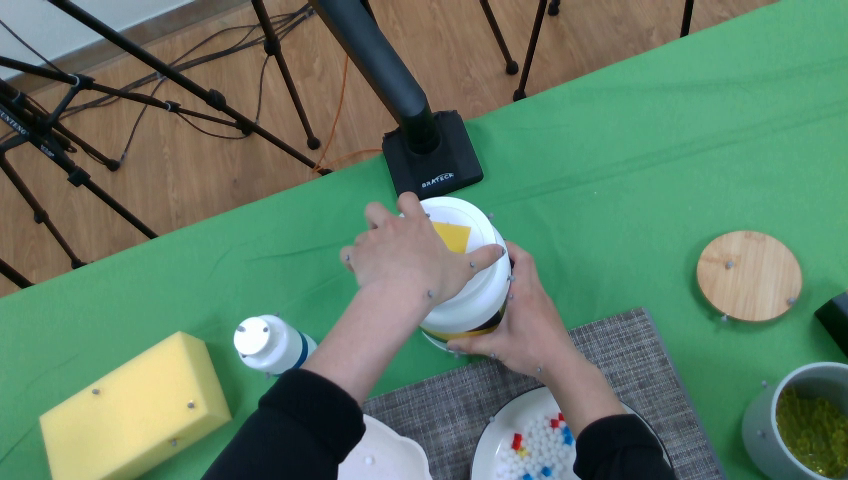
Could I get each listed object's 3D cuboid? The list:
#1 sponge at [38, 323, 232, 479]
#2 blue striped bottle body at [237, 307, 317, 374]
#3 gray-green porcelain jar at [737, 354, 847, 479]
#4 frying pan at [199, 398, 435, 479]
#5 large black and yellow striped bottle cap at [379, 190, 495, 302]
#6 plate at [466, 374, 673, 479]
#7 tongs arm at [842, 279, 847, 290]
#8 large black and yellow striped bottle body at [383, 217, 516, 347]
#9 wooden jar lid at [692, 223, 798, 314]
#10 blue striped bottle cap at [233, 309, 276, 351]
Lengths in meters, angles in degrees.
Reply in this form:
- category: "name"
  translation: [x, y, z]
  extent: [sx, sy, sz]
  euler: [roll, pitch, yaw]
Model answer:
- category: "sponge"
  translation: [-0.361, 0.212, 0.758]
  extent: [0.207, 0.061, 0.117]
  euler: [-32, 65, -2]
- category: "blue striped bottle body"
  translation: [-0.178, 0.119, 0.720]
  extent: [0.063, 0.122, 0.062]
  euler: [-4, 67, 11]
- category: "gray-green porcelain jar"
  translation: [0.363, 0.172, 0.572]
  extent: [0.105, 0.127, 0.105]
  euler: [-5, 67, 11]
- category: "frying pan"
  translation: [-0.052, 0.382, 0.591]
  extent: [0.307, 0.104, 0.482]
  euler: [-41, 57, -4]
- category: "large black and yellow striped bottle cap"
  translation: [0.012, 0.004, 0.596]
  extent: [0.115, 0.019, 0.114]
  euler: [-4, 67, 9]
- category: "plate"
  translation: [0.149, 0.247, 0.635]
  extent: [0.209, 0.038, 0.207]
  euler: [-5, 68, 11]
- category: "tongs arm"
  translation: [0.511, 0.198, 0.546]
  extent: [0.051, 0.027, 0.382]
  euler: [-24, 76, 1]
- category: "large black and yellow striped bottle body"
  translation: [0.030, 0.037, 0.671]
  extent: [0.130, 0.185, 0.130]
  euler: [-5, 67, 11]
- category: "wooden jar lid"
  translation: [0.362, 0.033, 0.687]
  extent: [0.108, 0.021, 0.107]
  euler: [-4, 69, 11]
- category: "blue striped bottle cap"
  translation: [-0.189, 0.100, 0.673]
  extent: [0.044, 0.021, 0.044]
  euler: [-6, 65, 13]
